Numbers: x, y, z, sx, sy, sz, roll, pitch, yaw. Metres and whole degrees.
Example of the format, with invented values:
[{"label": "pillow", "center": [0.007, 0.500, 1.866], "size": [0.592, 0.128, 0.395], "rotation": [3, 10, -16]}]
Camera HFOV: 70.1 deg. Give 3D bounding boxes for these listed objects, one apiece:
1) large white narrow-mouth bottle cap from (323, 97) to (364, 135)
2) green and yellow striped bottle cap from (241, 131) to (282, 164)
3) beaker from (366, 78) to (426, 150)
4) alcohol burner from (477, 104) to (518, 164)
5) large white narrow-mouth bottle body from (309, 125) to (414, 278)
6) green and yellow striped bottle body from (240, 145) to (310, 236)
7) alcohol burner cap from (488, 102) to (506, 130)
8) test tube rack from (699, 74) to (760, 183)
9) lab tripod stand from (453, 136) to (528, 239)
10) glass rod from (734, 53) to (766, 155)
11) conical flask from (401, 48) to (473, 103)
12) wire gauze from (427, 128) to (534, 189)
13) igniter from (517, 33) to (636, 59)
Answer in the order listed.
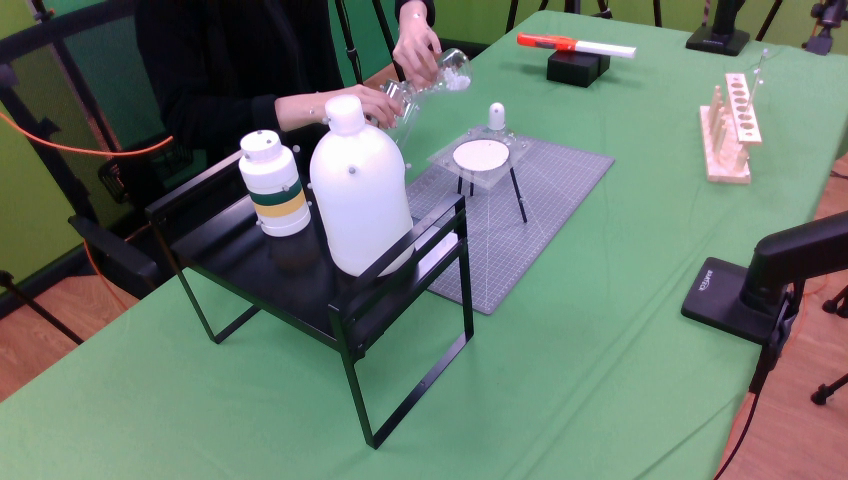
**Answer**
[{"label": "large white narrow-mouth bottle cap", "center": [-0.077, -0.120, 0.585], "size": [0.038, 0.024, 0.037], "rotation": [-3, 42, 4]}, {"label": "green and yellow striped bottle cap", "center": [-0.187, -0.107, 0.695], "size": [0.045, 0.020, 0.045], "rotation": [-3, 39, 3]}, {"label": "beaker", "center": [-0.050, -0.208, 1.015], "size": [0.074, 0.100, 0.084], "rotation": [27, 6, 12]}, {"label": "alcohol burner", "center": [0.135, -0.200, 1.117], "size": [0.078, 0.119, 0.077], "rotation": [-4, 43, 4]}, {"label": "large white narrow-mouth bottle body", "center": [-0.068, -0.057, 0.644], "size": [0.102, 0.195, 0.101], "rotation": [-4, 42, 4]}, {"label": "green and yellow striped bottle body", "center": [-0.181, -0.069, 0.729], "size": [0.063, 0.120, 0.063], "rotation": [-4, 40, 4]}, {"label": "alcohol burner cap", "center": [0.133, -0.227, 1.092], "size": [0.034, 0.048, 0.033], "rotation": [-1, 47, 2]}, {"label": "test tube rack", "center": [0.547, -0.208, 1.095], "size": [0.066, 0.085, 0.242], "rotation": [6, 42, 16]}, {"label": "lab tripod stand", "center": [0.094, -0.086, 0.974], "size": [0.148, 0.132, 0.147], "rotation": [-4, 43, 4]}, {"label": "glass rod", "center": [0.541, -0.220, 1.006], "size": [0.008, 0.201, 0.008], "rotation": [-5, 45, 6]}, {"label": "conical flask", "center": [0.019, -0.275, 1.038], "size": [0.122, 0.075, 0.074], "rotation": [-31, 46, -25]}, {"label": "wire gauze", "center": [0.086, -0.131, 0.924], "size": [0.124, 0.011, 0.122], "rotation": [26, 52, 33]}, {"label": "igniter", "center": [0.336, -0.441, 1.369], "size": [0.275, 0.025, 0.057], "rotation": [16, 41, 23]}]
